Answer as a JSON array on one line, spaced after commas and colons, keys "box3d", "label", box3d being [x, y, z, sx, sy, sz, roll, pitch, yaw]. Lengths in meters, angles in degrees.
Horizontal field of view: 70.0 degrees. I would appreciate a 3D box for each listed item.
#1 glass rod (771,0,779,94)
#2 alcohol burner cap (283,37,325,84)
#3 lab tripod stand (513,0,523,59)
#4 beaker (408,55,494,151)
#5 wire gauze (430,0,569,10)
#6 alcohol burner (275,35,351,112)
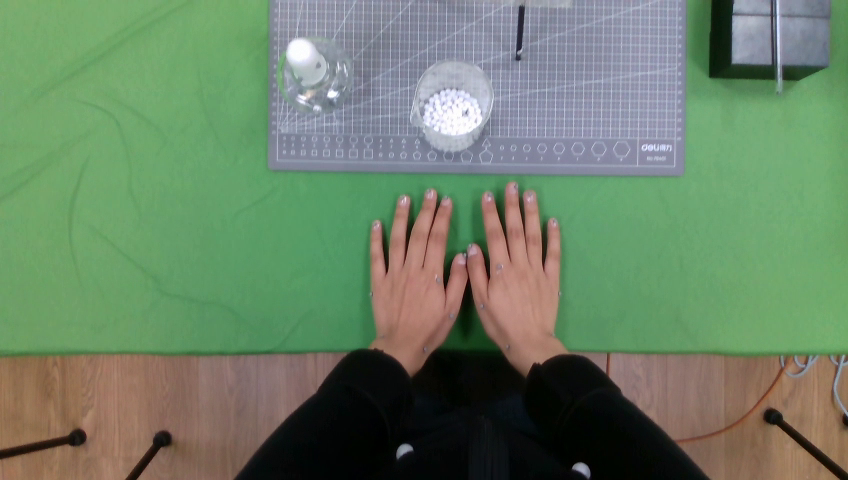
[{"box3d": [0.354, -0.247, 0.611, 0.008, 0.008, 0.199, -1, 91, 0], "label": "glass rod"}, {"box3d": [-0.113, -0.169, 0.563, 0.034, 0.048, 0.034, 0, 84, 4], "label": "alcohol burner cap"}, {"box3d": [0.069, -0.266, 0.591, 0.148, 0.131, 0.148, 0, 88, 0], "label": "lab tripod stand"}, {"box3d": [0.024, -0.130, 0.607, 0.084, 0.100, 0.074, -26, 89, 0], "label": "beaker"}, {"box3d": [0.065, -0.263, 0.524, 0.125, 0.011, 0.121, 1, 90, 0], "label": "wire gauze"}, {"box3d": [-0.113, -0.169, 0.599, 0.078, 0.119, 0.078, 0, 91, -1], "label": "alcohol burner"}]
